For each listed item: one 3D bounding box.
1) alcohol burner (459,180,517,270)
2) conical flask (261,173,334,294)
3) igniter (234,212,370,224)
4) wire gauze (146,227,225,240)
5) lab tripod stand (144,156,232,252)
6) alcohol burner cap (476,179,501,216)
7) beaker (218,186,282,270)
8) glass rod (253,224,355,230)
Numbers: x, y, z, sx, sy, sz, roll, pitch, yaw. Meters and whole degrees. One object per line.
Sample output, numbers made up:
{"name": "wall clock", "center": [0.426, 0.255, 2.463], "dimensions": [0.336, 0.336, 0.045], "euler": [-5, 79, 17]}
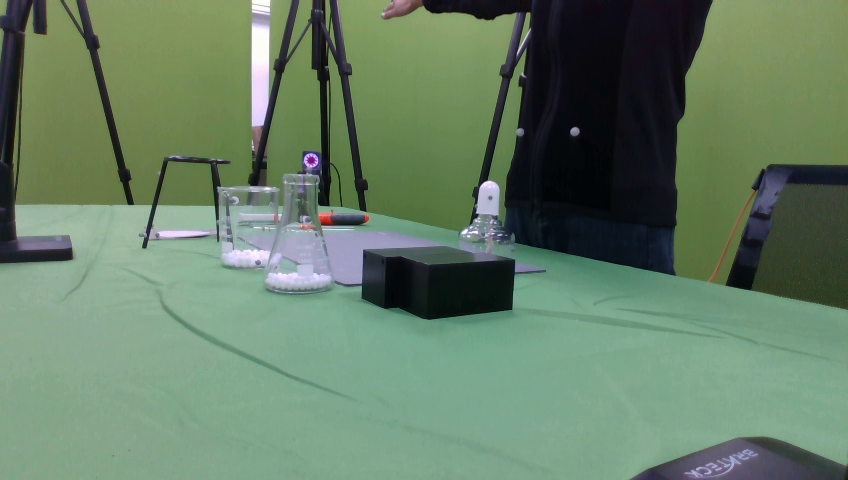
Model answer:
{"name": "alcohol burner", "center": [0.086, -0.021, 0.806], "dimensions": [0.078, 0.119, 0.078], "euler": [3, 10, 0]}
{"name": "conical flask", "center": [-0.131, -0.009, 0.632], "dimensions": [0.075, 0.122, 0.075], "euler": [2, 8, 0]}
{"name": "igniter", "center": [-0.247, -0.046, 1.253], "dimensions": [0.278, 0.025, 0.057], "euler": [-1, -2, -27]}
{"name": "wire gauze", "center": [-0.400, -0.012, 1.019], "dimensions": [0.122, 0.011, 0.124], "euler": [-1, 6, -26]}
{"name": "lab tripod stand", "center": [-0.325, -0.054, 0.881], "dimensions": [0.148, 0.131, 0.148], "euler": [4, 7, 0]}
{"name": "alcohol burner cap", "center": [0.086, -0.057, 0.801], "dimensions": [0.034, 0.048, 0.034], "euler": [4, 2, 0]}
{"name": "beaker", "center": [-0.222, -0.017, 0.758], "dimensions": [0.084, 0.100, 0.074], "euler": [4, 7, 19]}
{"name": "glass rod", "center": [-0.226, -0.024, 1.162], "dimensions": [0.201, 0.008, 0.008], "euler": [1, 6, -29]}
